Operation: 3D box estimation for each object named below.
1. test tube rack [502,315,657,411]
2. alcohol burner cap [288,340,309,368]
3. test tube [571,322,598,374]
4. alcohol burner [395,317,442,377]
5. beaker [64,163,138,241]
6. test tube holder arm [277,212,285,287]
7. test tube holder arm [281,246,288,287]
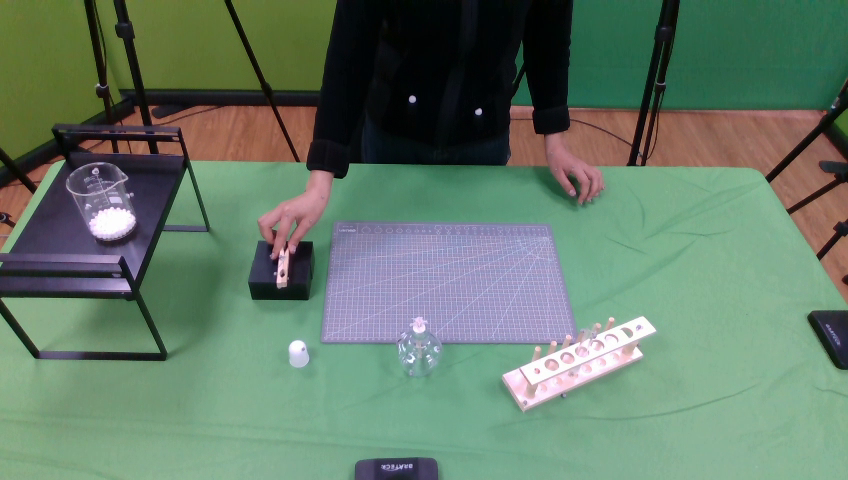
[{"bbox_3d":[0.253,0.186,0.988,0.242,0.085,0.066,-18,50,-20],"label":"test tube rack"},{"bbox_3d":[-0.207,0.183,0.991,0.034,0.048,0.033,3,47,-3],"label":"alcohol burner cap"},{"bbox_3d":[0.246,0.169,0.935,0.017,0.151,0.017,-1,53,1],"label":"test tube"},{"bbox_3d":[-0.009,0.166,0.971,0.078,0.120,0.077,0,45,0],"label":"alcohol burner"},{"bbox_3d":[-0.477,-0.055,0.910,0.084,0.101,0.073,-9,48,-13],"label":"beaker"},{"bbox_3d":[-0.257,0.013,1.092,0.013,0.015,0.177,3,45,-16],"label":"test tube holder arm"},{"bbox_3d":[-0.245,0.045,1.063,0.010,0.015,0.087,4,45,-15],"label":"test tube holder arm"}]
